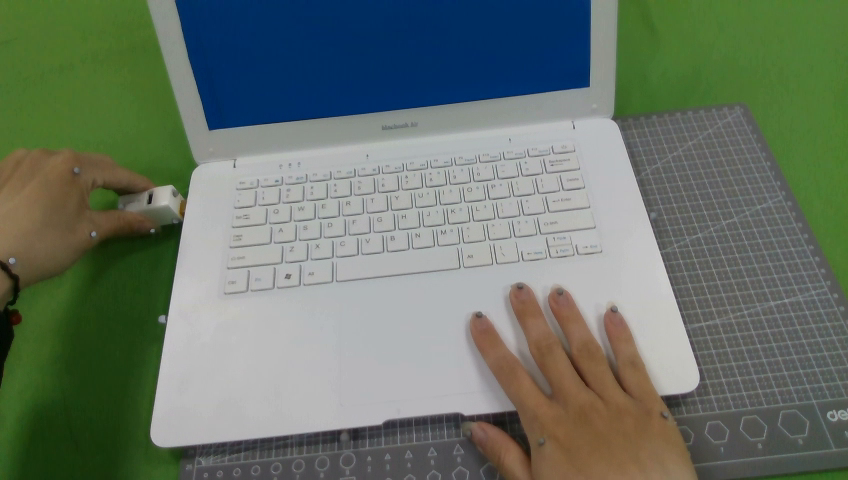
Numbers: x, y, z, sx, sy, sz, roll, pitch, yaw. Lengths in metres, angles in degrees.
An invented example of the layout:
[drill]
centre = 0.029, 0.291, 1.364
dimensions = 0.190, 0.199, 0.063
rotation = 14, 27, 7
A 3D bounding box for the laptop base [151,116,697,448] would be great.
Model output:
[laptop base]
centre = -0.010, 0.018, 0.447
dimensions = 0.354, 0.023, 0.233
rotation = -7, 60, 1

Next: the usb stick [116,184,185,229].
[usb stick]
centre = -0.210, -0.027, 0.482
dimensions = 0.059, 0.027, 0.021
rotation = -8, 57, 2

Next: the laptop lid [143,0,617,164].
[laptop lid]
centre = -0.032, -0.182, 0.456
dimensions = 0.357, 0.243, 0.013
rotation = -8, 27, 2
